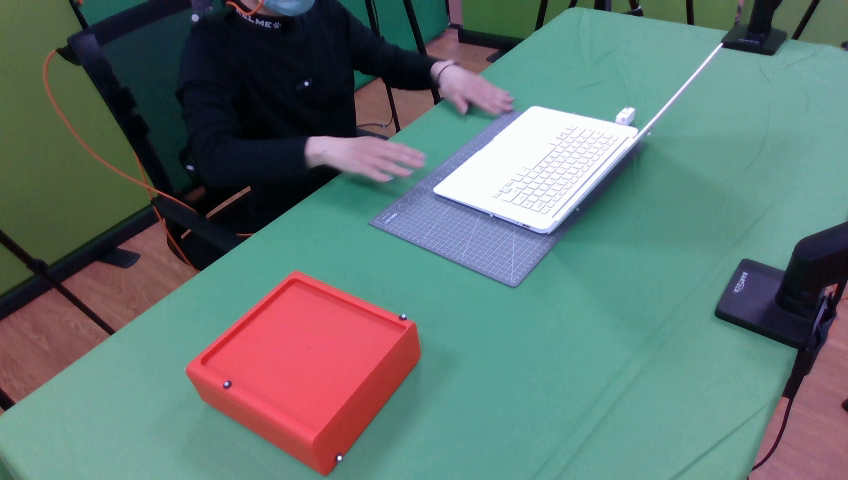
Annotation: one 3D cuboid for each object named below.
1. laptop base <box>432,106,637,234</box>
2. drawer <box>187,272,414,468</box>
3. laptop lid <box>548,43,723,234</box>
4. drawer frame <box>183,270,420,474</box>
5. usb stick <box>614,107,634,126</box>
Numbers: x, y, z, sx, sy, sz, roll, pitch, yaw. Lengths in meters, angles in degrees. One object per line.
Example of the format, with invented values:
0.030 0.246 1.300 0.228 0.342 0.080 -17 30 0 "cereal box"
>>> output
0.210 -0.142 1.111 0.233 0.023 0.355 21 48 33 "laptop base"
-0.150 0.154 0.768 0.210 0.073 0.195 20 46 28 "drawer"
0.335 -0.160 0.955 0.013 0.241 0.358 42 54 8 "laptop lid"
-0.149 0.153 0.767 0.212 0.083 0.202 20 46 27 "drawer frame"
0.385 -0.234 1.174 0.021 0.027 0.059 22 47 30 "usb stick"
